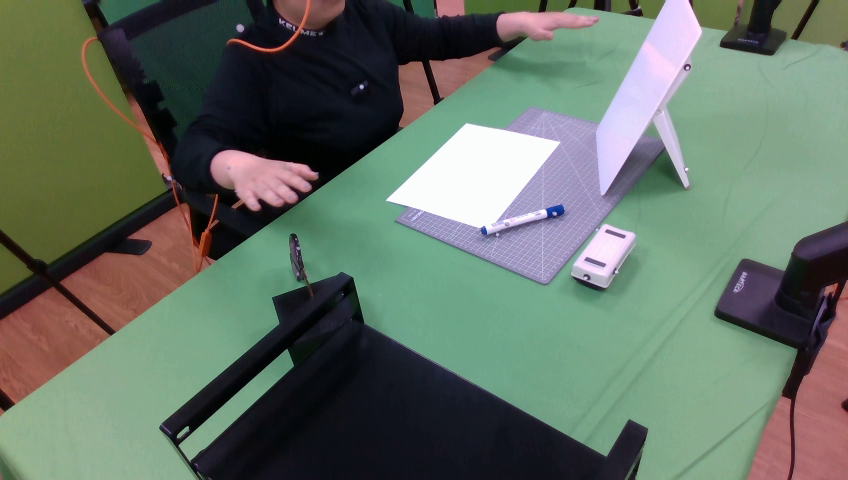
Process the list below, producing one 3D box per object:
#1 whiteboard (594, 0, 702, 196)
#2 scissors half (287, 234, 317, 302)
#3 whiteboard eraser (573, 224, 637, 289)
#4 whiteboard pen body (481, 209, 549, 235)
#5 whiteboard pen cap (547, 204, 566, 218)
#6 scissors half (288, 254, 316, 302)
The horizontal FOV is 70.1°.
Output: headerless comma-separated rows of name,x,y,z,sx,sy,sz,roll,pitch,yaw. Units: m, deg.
whiteboard,0.420,-0.227,1.010,0.144,0.305,0.216,18,42,-2
scissors half,-0.179,0.040,0.885,0.013,0.040,0.173,-10,36,-21
whiteboard eraser,0.267,0.025,0.890,0.055,0.042,0.113,19,47,31
whiteboard pen body,0.160,-0.032,0.985,0.141,0.017,0.017,-16,41,-12
whiteboard pen cap,0.216,-0.046,0.997,0.033,0.018,0.018,-18,41,-10
scissors half,-0.178,0.058,0.894,0.013,0.040,0.174,-15,20,-18
